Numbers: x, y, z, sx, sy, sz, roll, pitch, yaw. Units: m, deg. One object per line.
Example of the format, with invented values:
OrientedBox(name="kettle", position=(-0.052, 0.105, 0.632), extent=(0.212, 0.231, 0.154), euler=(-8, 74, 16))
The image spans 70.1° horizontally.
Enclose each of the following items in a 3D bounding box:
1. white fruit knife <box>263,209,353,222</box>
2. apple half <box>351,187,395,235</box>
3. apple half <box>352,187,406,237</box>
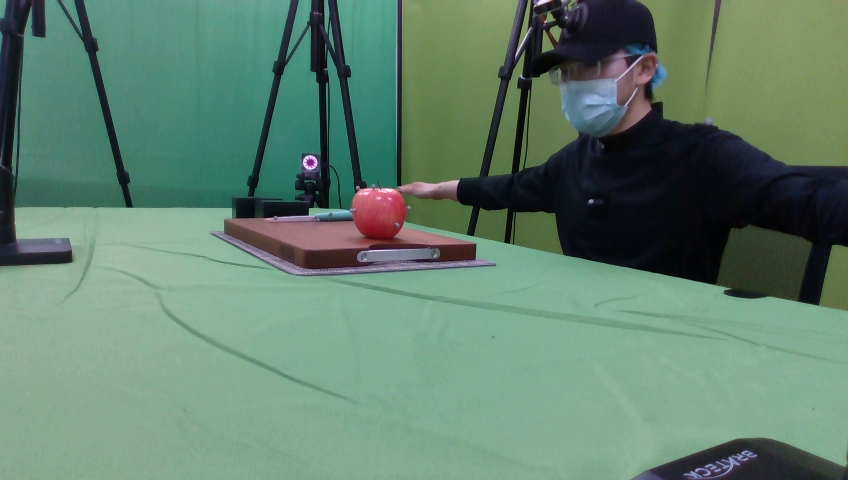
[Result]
OrientedBox(name="white fruit knife", position=(-0.196, -0.042, 1.100), extent=(0.208, 0.016, 0.027), euler=(-6, -19, -41))
OrientedBox(name="apple half", position=(-0.083, -0.045, 0.913), extent=(0.082, 0.081, 0.032), euler=(-3, 13, -38))
OrientedBox(name="apple half", position=(-0.059, -0.039, 0.883), extent=(0.081, 0.074, 0.053), euler=(2, 10, -39))
